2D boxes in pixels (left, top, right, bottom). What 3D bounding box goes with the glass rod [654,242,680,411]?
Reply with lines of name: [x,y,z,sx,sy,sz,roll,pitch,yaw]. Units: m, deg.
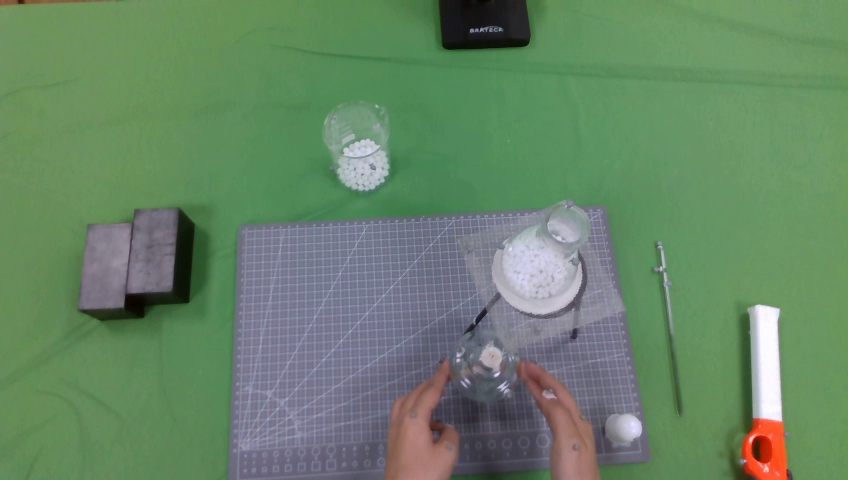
glass rod: [0.280,0.096,0.702,0.008,0.008,0.198,1,71,-1]

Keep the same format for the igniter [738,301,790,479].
igniter: [0.367,0.202,0.658,0.057,0.025,0.275,12,71,-8]

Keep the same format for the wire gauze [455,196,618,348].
wire gauze: [0.108,0.029,0.582,0.125,0.011,0.120,-18,75,-9]

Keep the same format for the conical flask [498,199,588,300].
conical flask: [0.109,0.004,0.528,0.075,0.122,0.075,0,73,-1]

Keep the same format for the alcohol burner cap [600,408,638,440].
alcohol burner cap: [0.211,0.195,0.645,0.034,0.048,0.033,1,72,-2]

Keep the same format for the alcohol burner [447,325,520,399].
alcohol burner: [0.064,0.124,0.629,0.078,0.119,0.077,1,72,-2]

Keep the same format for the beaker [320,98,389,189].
beaker: [-0.077,-0.111,0.717,0.084,0.101,0.073,-43,77,-15]

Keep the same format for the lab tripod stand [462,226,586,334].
lab tripod stand: [0.109,0.052,0.644,0.148,0.132,0.147,0,73,0]
